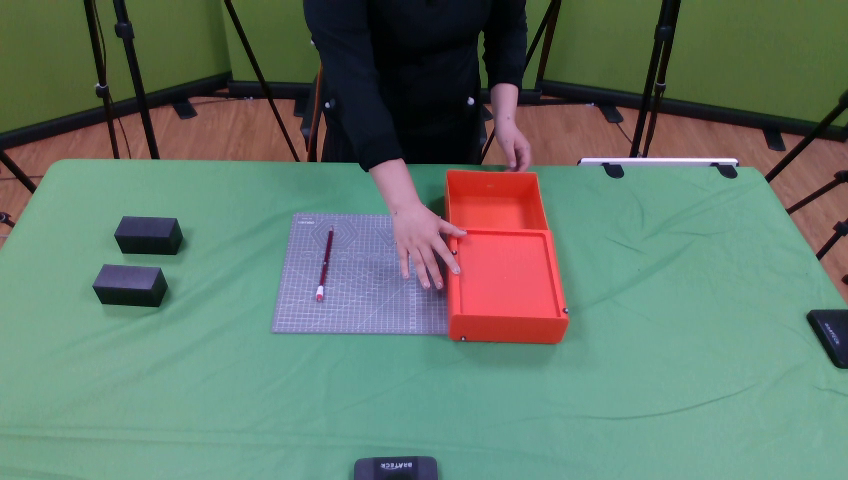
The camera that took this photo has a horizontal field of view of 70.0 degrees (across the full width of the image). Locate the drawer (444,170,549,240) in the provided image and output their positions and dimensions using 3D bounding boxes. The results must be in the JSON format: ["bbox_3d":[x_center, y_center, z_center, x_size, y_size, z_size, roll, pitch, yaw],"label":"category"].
[{"bbox_3d":[0.140,-0.049,1.217,0.194,0.073,0.210,2,44,-3],"label":"drawer"}]

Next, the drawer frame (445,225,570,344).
[{"bbox_3d":[0.141,0.076,1.089,0.202,0.083,0.212,2,47,-3],"label":"drawer frame"}]

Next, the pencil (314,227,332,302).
[{"bbox_3d":[-0.189,0.041,1.148,0.012,0.012,0.193,3,44,-1],"label":"pencil"}]
